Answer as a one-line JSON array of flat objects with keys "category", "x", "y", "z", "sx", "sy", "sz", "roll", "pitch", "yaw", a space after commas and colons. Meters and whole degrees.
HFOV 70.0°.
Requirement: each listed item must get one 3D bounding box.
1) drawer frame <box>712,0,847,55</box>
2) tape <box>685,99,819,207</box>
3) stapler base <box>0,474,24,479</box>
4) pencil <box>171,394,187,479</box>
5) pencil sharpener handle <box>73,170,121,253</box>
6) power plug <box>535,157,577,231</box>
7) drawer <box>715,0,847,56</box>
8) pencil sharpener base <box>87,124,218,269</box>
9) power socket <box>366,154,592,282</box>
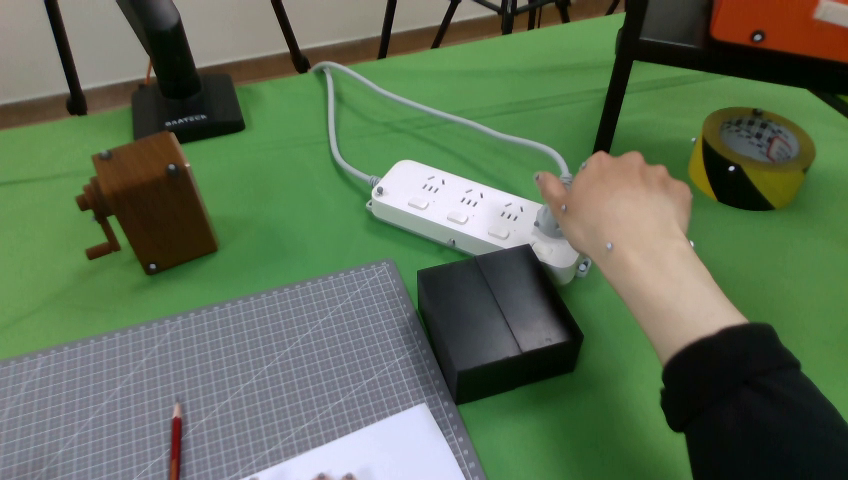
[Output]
[{"category": "drawer frame", "x": 0.353, "y": -0.233, "z": 0.493, "sx": 0.201, "sy": 0.083, "sz": 0.212, "roll": 15, "pitch": 48, "yaw": 14}, {"category": "tape", "x": 0.338, "y": -0.092, "z": 0.627, "sx": 0.117, "sy": 0.053, "sz": 0.115, "roll": 0, "pitch": 48, "yaw": 0}, {"category": "stapler base", "x": -0.322, "y": 0.194, "z": 0.379, "sx": 0.130, "sy": 0.024, "sz": 0.041, "roll": -31, "pitch": 53, "yaw": -24}, {"category": "pencil", "x": -0.165, "y": 0.184, "z": 0.399, "sx": 0.012, "sy": 0.012, "sz": 0.192, "roll": -9, "pitch": 46, "yaw": -8}, {"category": "pencil sharpener handle", "x": -0.280, "y": -0.022, "z": 0.507, "sx": 0.031, "sy": 0.068, "sz": 0.035, "roll": -24, "pitch": 31, "yaw": -20}, {"category": "power plug", "x": 0.130, "y": -0.035, "z": 0.556, "sx": 0.035, "sy": 0.053, "sz": 0.072, "roll": 31, "pitch": 56, "yaw": 27}, {"category": "drawer", "x": 0.352, "y": -0.228, "z": 0.490, "sx": 0.194, "sy": 0.074, "sz": 0.210, "roll": 16, "pitch": 48, "yaw": 15}, {"category": "pencil sharpener base", "x": -0.239, "y": -0.036, "z": 0.537, "sx": 0.077, "sy": 0.108, "sz": 0.060, "roll": -24, "pitch": 52, "yaw": -20}, {"category": "power socket", "x": 0.051, "y": -0.025, "z": 0.579, "sx": 0.225, "sy": 0.033, "sz": 0.072, "roll": 21, "pitch": 50, "yaw": 19}]
